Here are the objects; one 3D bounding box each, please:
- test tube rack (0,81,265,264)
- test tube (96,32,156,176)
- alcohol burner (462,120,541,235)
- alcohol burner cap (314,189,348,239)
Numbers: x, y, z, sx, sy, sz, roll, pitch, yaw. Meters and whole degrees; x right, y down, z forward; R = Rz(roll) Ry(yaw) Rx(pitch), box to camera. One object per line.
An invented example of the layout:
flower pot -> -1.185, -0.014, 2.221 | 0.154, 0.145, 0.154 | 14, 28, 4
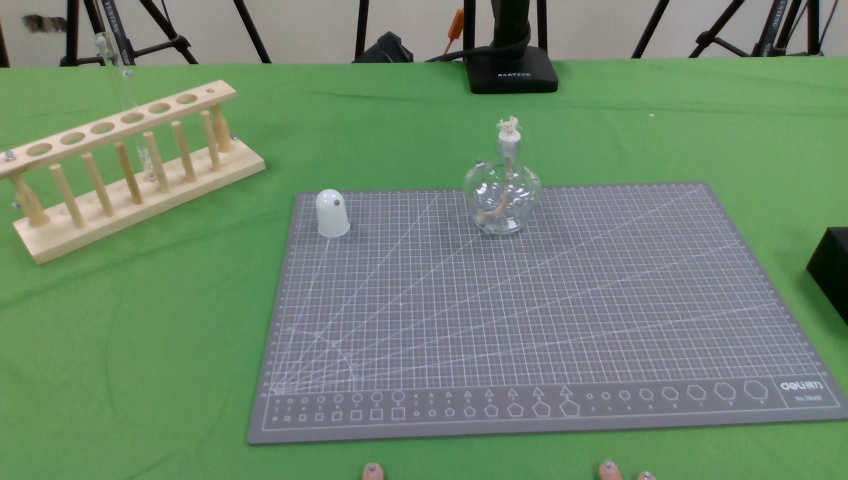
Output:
test tube rack -> -0.293, -0.076, 0.618 | 0.242, 0.086, 0.066 | -30, 49, -30
test tube -> -0.293, -0.131, 0.604 | 0.017, 0.151, 0.017 | -1, 37, 1
alcohol burner -> 0.076, -0.064, 0.582 | 0.078, 0.120, 0.077 | 1, 43, -1
alcohol burner cap -> -0.092, -0.029, 0.595 | 0.034, 0.048, 0.033 | 1, 42, 0
